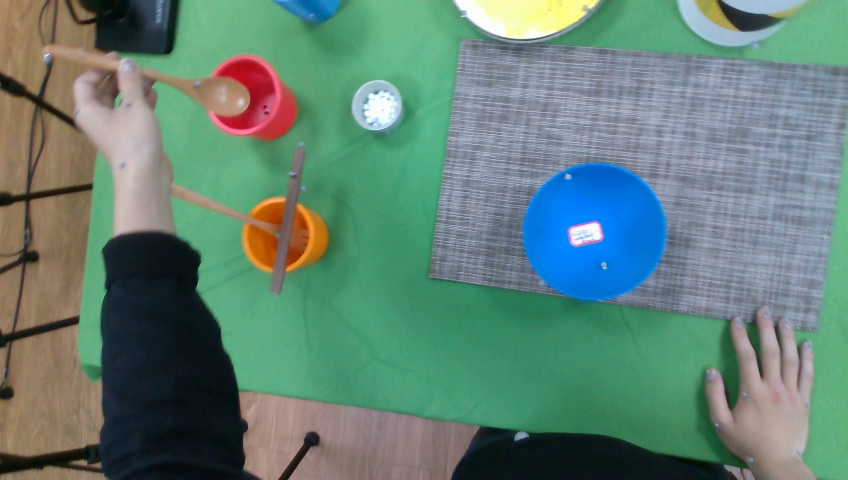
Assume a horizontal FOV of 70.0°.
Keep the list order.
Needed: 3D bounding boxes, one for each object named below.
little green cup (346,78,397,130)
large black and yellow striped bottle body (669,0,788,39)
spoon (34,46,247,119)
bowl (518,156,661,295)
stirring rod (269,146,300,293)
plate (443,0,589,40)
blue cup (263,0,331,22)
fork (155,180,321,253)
[{"bbox_3d":[-0.063,-0.167,0.759,0.061,0.039,0.061,0,90,11],"label":"little green cup"},{"bbox_3d":[0.333,-0.298,0.616,0.130,0.184,0.130,0,89,10],"label":"large black and yellow striped bottle body"},{"bbox_3d":[-0.276,-0.162,0.607,0.021,0.195,0.041,4,84,54],"label":"spoon"},{"bbox_3d":[0.184,-0.014,0.691,0.151,0.077,0.151,0,90,11],"label":"bowl"},{"bbox_3d":[-0.165,-0.024,0.717,0.014,0.006,0.176,8,91,10],"label":"stirring rod"},{"bbox_3d":[0.113,-0.341,0.729,0.209,0.038,0.209,0,90,10],"label":"plate"},{"bbox_3d":[-0.159,-0.316,0.744,0.092,0.100,0.092,0,90,12],"label":"blue cup"},{"bbox_3d":[-0.218,-0.027,0.729,0.209,0.018,0.028,24,97,-34],"label":"fork"}]
